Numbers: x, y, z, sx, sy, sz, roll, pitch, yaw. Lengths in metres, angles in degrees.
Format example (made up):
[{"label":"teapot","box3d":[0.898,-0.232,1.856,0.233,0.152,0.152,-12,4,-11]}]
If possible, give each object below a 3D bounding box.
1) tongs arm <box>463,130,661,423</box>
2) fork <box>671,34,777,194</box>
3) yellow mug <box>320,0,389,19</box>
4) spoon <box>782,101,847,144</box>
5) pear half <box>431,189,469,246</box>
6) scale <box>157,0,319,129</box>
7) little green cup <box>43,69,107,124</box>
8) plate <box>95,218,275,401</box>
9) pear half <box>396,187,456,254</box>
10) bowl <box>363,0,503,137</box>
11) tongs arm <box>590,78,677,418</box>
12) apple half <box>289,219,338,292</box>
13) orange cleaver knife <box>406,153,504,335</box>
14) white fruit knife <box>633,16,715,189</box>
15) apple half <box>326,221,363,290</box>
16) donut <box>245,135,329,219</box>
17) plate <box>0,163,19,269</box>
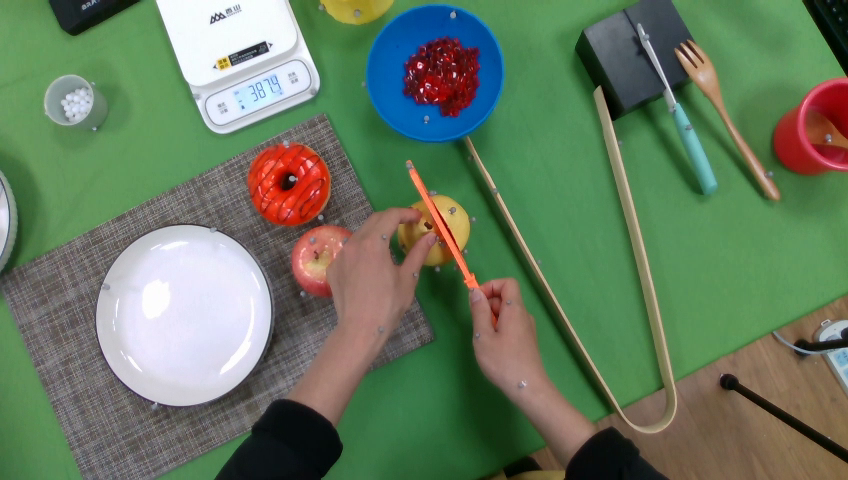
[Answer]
[{"label":"tongs arm","box3d":[0.153,0.036,0.685,0.051,0.026,0.384,-27,86,-4]},{"label":"fork","box3d":[0.335,-0.136,0.668,0.028,0.018,0.208,-36,101,-1]},{"label":"yellow mug","box3d":[-0.099,-0.326,0.704,0.130,0.064,0.100,31,89,6]},{"label":"spoon","box3d":[0.448,-0.093,0.618,0.041,0.022,0.191,-32,41,1]},{"label":"pear half","box3d":[0.032,-0.031,0.670,0.031,0.088,0.070,-35,81,-5]},{"label":"scale","box3d":[-0.225,-0.248,0.725,0.148,0.031,0.200,-22,86,3]},{"label":"little green cup","box3d":[-0.418,-0.170,0.730,0.061,0.039,0.061,0,86,4]},{"label":"plate","box3d":[-0.272,0.079,0.704,0.209,0.038,0.208,0,87,4]},{"label":"pear half","box3d":[-0.005,-0.016,0.655,0.056,0.110,0.076,-44,76,12]},{"label":"bowl","box3d":[0.012,-0.183,0.684,0.151,0.077,0.151,0,87,4]},{"label":"tongs arm","box3d":[0.234,0.005,0.687,0.028,0.028,0.386,-12,86,-6]},{"label":"apple half","box3d":[-0.122,0.016,0.680,0.053,0.075,0.081,7,90,7]},{"label":"orange cleaver knife","box3d":[0.032,0.003,0.643,0.012,0.077,0.212,-27,100,7]},{"label":"white fruit knife","box3d":[0.273,-0.148,0.665,0.016,0.027,0.208,-29,100,1]},{"label":"apple half","box3d":[-0.083,0.019,0.677,0.033,0.081,0.081,6,87,8]},{"label":"donut","box3d":[-0.159,-0.073,0.702,0.099,0.048,0.099,0,88,5]},{"label":"plate","box3d":[-0.586,-0.026,0.734,0.207,0.039,0.207,0,87,4]}]
